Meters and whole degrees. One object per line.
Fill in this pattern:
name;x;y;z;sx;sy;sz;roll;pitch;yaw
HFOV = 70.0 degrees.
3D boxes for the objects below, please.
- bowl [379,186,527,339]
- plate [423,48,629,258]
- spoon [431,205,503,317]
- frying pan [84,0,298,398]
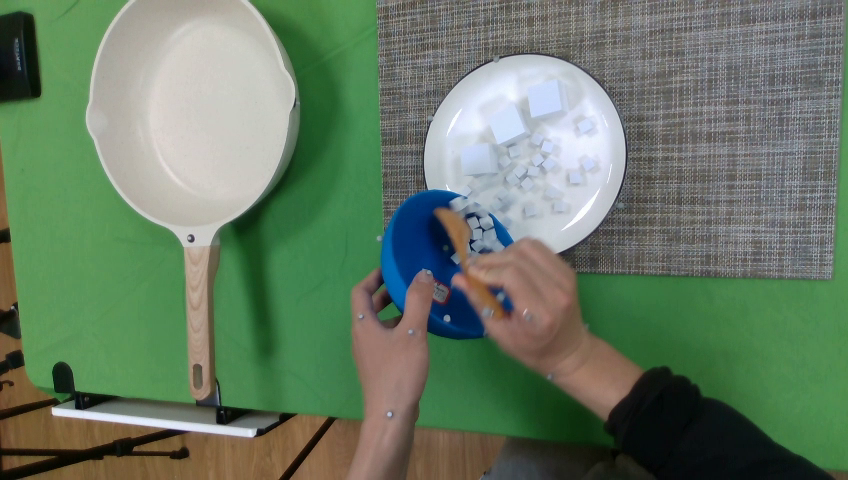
bowl;0.015;0.033;0.579;0.151;0.151;0.077;55;137;7
plate;0.102;-0.086;0.619;0.207;0.039;0.208;2;97;20
spoon;0.036;0.013;0.509;0.042;0.192;0.021;32;109;-23
frying pan;-0.273;-0.057;0.730;0.305;0.103;0.487;-1;88;21
